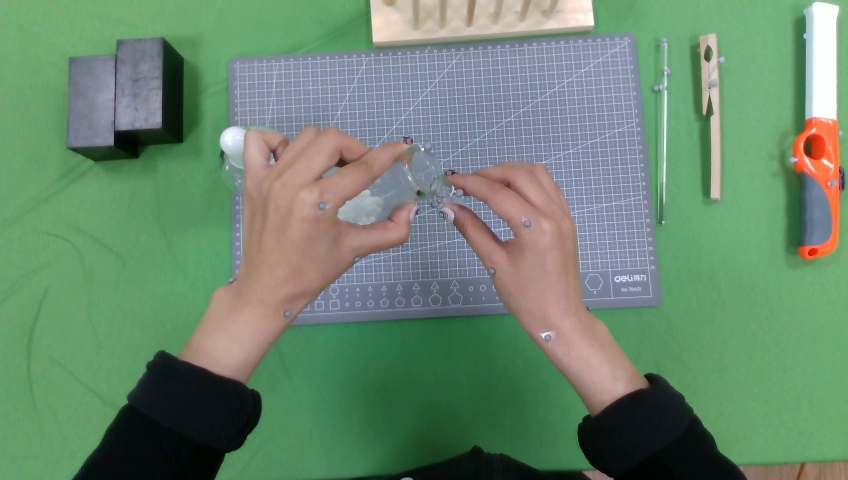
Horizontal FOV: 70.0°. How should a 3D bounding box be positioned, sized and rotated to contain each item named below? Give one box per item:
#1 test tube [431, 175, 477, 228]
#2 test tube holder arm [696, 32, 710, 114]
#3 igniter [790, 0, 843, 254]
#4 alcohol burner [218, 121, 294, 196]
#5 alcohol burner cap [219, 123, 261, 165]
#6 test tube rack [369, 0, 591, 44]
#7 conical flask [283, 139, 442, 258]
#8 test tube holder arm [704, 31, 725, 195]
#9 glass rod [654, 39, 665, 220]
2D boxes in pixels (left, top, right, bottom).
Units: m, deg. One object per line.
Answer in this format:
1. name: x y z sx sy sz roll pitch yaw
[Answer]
1. test tube: 0.027 -0.029 0.501 0.017 0.151 0.017 -2 81 12
2. test tube holder arm: 0.304 -0.181 0.657 0.010 0.015 0.087 -6 82 38
3. igniter: 0.415 -0.121 0.640 0.057 0.025 0.275 6 83 -8
4. alcohol burner: -0.173 -0.086 0.605 0.078 0.119 0.077 -1 82 4
5. alcohol burner cap: -0.175 -0.093 0.569 0.034 0.048 0.033 0 78 -2
6. test tube rack: 0.060 -0.266 0.638 0.242 0.085 0.066 -4 83 1
7. conical flask: -0.043 -0.035 0.453 0.121 0.076 0.075 -19 80 40
8. test tube holder arm: 0.310 -0.137 0.648 0.013 0.015 0.178 -7 81 38
9. glass rod: 0.254 -0.120 0.654 0.008 0.008 0.199 3 85 2
